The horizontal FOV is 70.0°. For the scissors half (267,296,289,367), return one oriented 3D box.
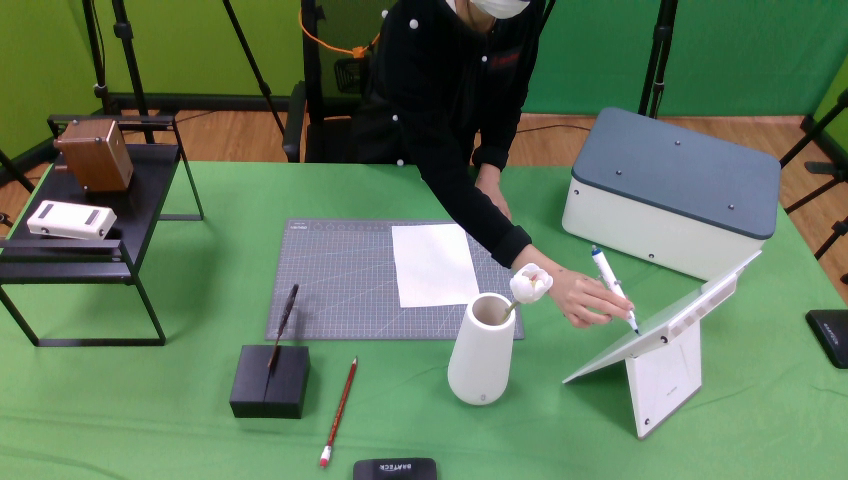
[{"bbox_3d":[-0.239,0.150,0.997,0.013,0.040,0.174,24,24,-13],"label":"scissors half"}]

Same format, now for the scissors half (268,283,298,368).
[{"bbox_3d":[-0.230,0.135,0.986,0.013,0.040,0.174,19,43,-11],"label":"scissors half"}]

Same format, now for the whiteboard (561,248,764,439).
[{"bbox_3d":[0.386,0.176,0.905,0.217,0.306,0.143,-26,72,-27],"label":"whiteboard"}]

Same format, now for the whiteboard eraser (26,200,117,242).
[{"bbox_3d":[-0.532,-0.026,0.919,0.113,0.042,0.055,7,45,3],"label":"whiteboard eraser"}]

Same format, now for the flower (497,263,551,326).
[{"bbox_3d":[0.103,0.121,0.852,0.044,0.363,0.038,-1,64,-9],"label":"flower"}]

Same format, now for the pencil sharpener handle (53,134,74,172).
[{"bbox_3d":[-0.577,-0.138,0.961,0.031,0.068,0.036,-4,34,-7],"label":"pencil sharpener handle"}]

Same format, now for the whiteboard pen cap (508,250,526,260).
[{"bbox_3d":[0.181,0.029,1.185,0.033,0.018,0.018,-4,47,-14],"label":"whiteboard pen cap"}]

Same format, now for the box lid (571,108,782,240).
[{"bbox_3d":[0.491,-0.139,1.168,0.370,0.015,0.262,21,49,15],"label":"box lid"}]

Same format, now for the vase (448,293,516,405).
[{"bbox_3d":[0.091,0.169,0.921,0.098,0.201,0.097,3,47,-3],"label":"vase"}]

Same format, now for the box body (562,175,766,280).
[{"bbox_3d":[0.486,-0.088,1.222,0.363,0.161,0.253,20,48,15],"label":"box body"}]

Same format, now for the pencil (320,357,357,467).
[{"bbox_3d":[-0.130,0.261,0.947,0.012,0.012,0.193,10,45,5],"label":"pencil"}]

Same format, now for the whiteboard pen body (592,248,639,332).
[{"bbox_3d":[0.283,0.075,0.888,0.017,0.017,0.141,-31,95,-29],"label":"whiteboard pen body"}]

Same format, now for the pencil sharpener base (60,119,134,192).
[{"bbox_3d":[-0.528,-0.135,0.979,0.077,0.107,0.061,-4,47,-7],"label":"pencil sharpener base"}]
